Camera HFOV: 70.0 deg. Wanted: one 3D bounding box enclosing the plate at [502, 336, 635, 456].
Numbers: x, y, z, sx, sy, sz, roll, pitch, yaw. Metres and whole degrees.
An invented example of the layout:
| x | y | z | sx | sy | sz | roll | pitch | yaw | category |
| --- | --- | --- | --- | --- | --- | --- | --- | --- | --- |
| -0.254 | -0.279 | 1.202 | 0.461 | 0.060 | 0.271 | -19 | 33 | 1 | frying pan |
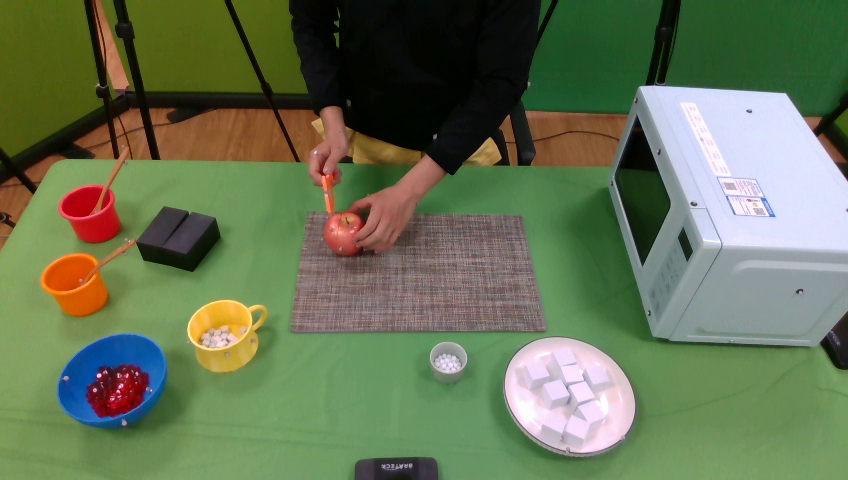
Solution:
| x | y | z | sx | sy | sz | roll | pitch | yaw | category |
| --- | --- | --- | --- | --- | --- | --- | --- | --- | --- |
| 0.225 | 0.248 | 0.964 | 0.208 | 0.039 | 0.206 | 2 | 46 | -2 | plate |

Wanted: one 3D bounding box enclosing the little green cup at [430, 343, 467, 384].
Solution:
| x | y | z | sx | sy | sz | roll | pitch | yaw | category |
| --- | --- | --- | --- | --- | --- | --- | --- | --- | --- |
| 0.039 | 0.203 | 0.994 | 0.061 | 0.039 | 0.061 | 2 | 46 | -2 | little green cup |

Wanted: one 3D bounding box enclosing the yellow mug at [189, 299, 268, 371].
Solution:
| x | y | z | sx | sy | sz | roll | pitch | yaw | category |
| --- | --- | --- | --- | --- | --- | --- | --- | --- | --- |
| -0.316 | 0.148 | 1.002 | 0.131 | 0.064 | 0.099 | -33 | 56 | -31 | yellow mug |

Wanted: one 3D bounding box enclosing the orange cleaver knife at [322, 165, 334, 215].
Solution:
| x | y | z | sx | sy | sz | roll | pitch | yaw | category |
| --- | --- | --- | --- | --- | --- | --- | --- | --- | --- |
| -0.176 | -0.097 | 1.131 | 0.012 | 0.077 | 0.210 | -8 | 17 | -3 | orange cleaver knife |

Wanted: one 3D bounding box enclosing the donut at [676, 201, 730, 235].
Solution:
| x | y | z | sx | sy | sz | roll | pitch | yaw | category |
| --- | --- | --- | --- | --- | --- | --- | --- | --- | --- |
| 0.538 | -0.044 | 1.170 | 0.099 | 0.048 | 0.098 | 4 | 29 | -2 | donut |

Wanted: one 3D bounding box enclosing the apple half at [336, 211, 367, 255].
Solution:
| x | y | z | sx | sy | sz | roll | pitch | yaw | category |
| --- | --- | --- | --- | --- | --- | --- | --- | --- | --- |
| -0.136 | -0.011 | 1.157 | 0.053 | 0.075 | 0.080 | 7 | 41 | -3 | apple half |

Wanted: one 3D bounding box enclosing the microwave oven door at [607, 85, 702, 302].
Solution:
| x | y | z | sx | sy | sz | roll | pitch | yaw | category |
| --- | --- | --- | --- | --- | --- | --- | --- | --- | --- |
| 0.423 | -0.094 | 1.141 | 0.039 | 0.245 | 0.353 | 2 | 46 | -1 | microwave oven door |

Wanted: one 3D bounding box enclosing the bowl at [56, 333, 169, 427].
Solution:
| x | y | z | sx | sy | sz | roll | pitch | yaw | category |
| --- | --- | --- | --- | --- | --- | --- | --- | --- | --- |
| -0.456 | 0.223 | 0.911 | 0.151 | 0.077 | 0.150 | 3 | 45 | -2 | bowl |

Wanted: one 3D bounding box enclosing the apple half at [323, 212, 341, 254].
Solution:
| x | y | z | sx | sy | sz | roll | pitch | yaw | category |
| --- | --- | --- | --- | --- | --- | --- | --- | --- | --- |
| -0.175 | -0.013 | 1.155 | 0.033 | 0.081 | 0.081 | 5 | 46 | -3 | apple half |

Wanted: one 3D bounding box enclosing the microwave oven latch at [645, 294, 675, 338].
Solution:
| x | y | z | sx | sy | sz | roll | pitch | yaw | category |
| --- | --- | --- | --- | --- | --- | --- | --- | --- | --- |
| 0.412 | 0.134 | 1.062 | 0.030 | 0.029 | 0.078 | 3 | 45 | 0 | microwave oven latch |

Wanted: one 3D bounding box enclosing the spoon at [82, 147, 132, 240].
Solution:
| x | y | z | sx | sy | sz | roll | pitch | yaw | category |
| --- | --- | --- | --- | --- | --- | --- | --- | --- | --- |
| -0.602 | -0.089 | 1.156 | 0.041 | 0.022 | 0.193 | 27 | 95 | 19 | spoon |

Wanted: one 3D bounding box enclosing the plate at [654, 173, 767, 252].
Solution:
| x | y | z | sx | sy | sz | roll | pitch | yaw | category |
| --- | --- | --- | --- | --- | --- | --- | --- | --- | --- |
| 0.555 | -0.050 | 1.187 | 0.209 | 0.038 | 0.208 | 1 | 47 | -1 | plate |

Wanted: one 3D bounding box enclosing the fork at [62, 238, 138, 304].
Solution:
| x | y | z | sx | sy | sz | roll | pitch | yaw | category |
| --- | --- | --- | --- | --- | --- | --- | --- | --- | --- |
| -0.547 | 0.053 | 1.018 | 0.207 | 0.019 | 0.028 | -36 | 41 | 23 | fork |

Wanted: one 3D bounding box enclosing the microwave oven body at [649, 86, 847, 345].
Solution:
| x | y | z | sx | sy | sz | roll | pitch | yaw | category |
| --- | --- | --- | --- | --- | --- | --- | --- | --- | --- |
| 0.568 | -0.053 | 1.118 | 0.326 | 0.261 | 0.439 | 2 | 45 | -1 | microwave oven body |
